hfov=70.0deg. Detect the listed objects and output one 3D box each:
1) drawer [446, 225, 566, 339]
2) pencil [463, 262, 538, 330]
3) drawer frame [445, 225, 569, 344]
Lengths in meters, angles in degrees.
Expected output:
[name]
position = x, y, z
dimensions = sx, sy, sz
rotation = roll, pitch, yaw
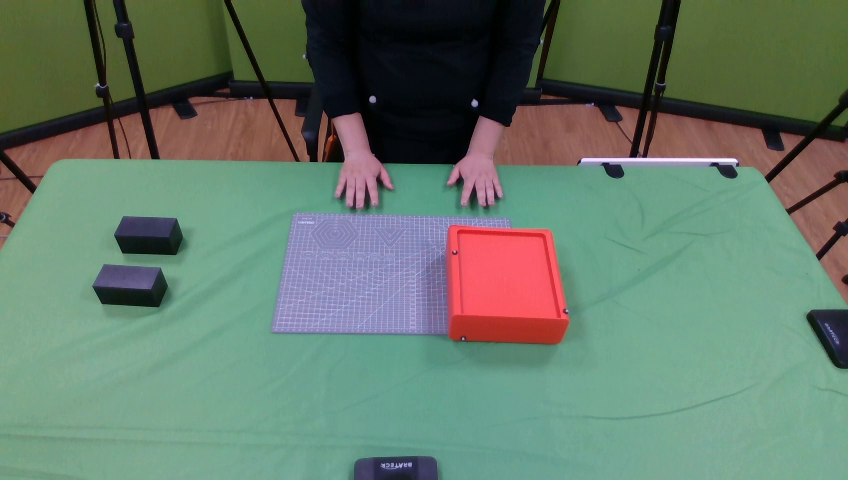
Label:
[drawer]
position = 0.140, 0.073, 1.094
dimensions = 0.194, 0.073, 0.210
rotation = 3, 47, -3
[pencil]
position = 0.135, 0.098, 1.098
dimensions = 0.012, 0.012, 0.193
rotation = -28, 54, -28
[drawer frame]
position = 0.141, 0.076, 1.089
dimensions = 0.202, 0.083, 0.212
rotation = 3, 47, -4
